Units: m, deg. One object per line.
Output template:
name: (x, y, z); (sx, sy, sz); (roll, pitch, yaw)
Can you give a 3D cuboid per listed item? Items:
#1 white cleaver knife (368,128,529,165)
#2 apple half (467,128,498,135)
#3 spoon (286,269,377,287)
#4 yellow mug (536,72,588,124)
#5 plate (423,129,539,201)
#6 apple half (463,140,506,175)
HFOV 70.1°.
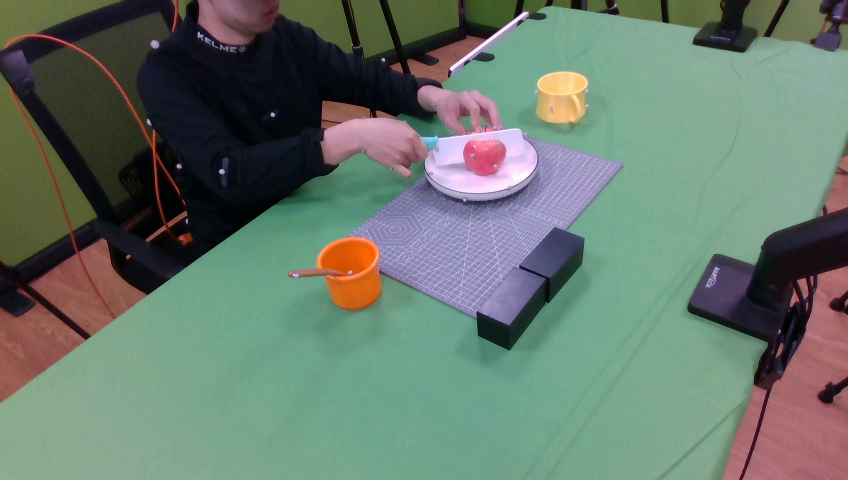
white cleaver knife: (0.039, -0.158, 1.067); (0.286, 0.066, 0.021); (-3, 43, 11)
apple half: (0.109, -0.167, 1.089); (0.081, 0.075, 0.053); (-5, 33, 7)
spoon: (-0.125, 0.049, 0.832); (0.041, 0.195, 0.021); (22, 93, 28)
yellow mug: (0.285, -0.281, 1.222); (0.100, 0.064, 0.130); (-16, 42, -9)
plate: (0.103, -0.132, 1.092); (0.209, 0.038, 0.208); (-4, 40, 4)
apple half: (0.107, -0.139, 1.060); (0.081, 0.081, 0.032); (-2, 43, 7)
